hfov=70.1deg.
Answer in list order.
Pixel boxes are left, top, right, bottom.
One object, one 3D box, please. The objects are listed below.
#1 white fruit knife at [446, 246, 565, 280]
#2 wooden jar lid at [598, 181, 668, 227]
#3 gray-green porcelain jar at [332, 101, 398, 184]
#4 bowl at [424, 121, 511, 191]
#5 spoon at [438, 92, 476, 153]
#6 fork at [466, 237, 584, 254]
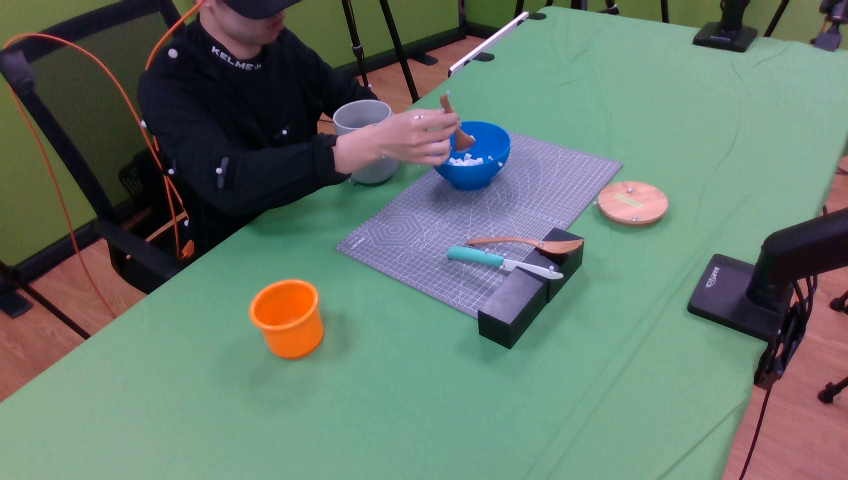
[{"bbox_3d":[0.111,0.033,0.868,0.205,0.027,0.016,11,44,40],"label":"white fruit knife"},{"bbox_3d":[0.340,-0.058,0.989,0.108,0.021,0.108,-5,41,5],"label":"wooden jar lid"},{"bbox_3d":[-0.104,-0.174,1.109,0.106,0.127,0.105,-4,40,4],"label":"gray-green porcelain jar"},{"bbox_3d":[0.081,-0.140,1.074,0.151,0.077,0.150,-4,41,4],"label":"bowl"},{"bbox_3d":[0.048,-0.184,0.961,0.041,0.195,0.021,-27,65,7],"label":"spoon"},{"bbox_3d":[0.142,0.005,0.894,0.205,0.019,0.028,4,43,41],"label":"fork"}]
